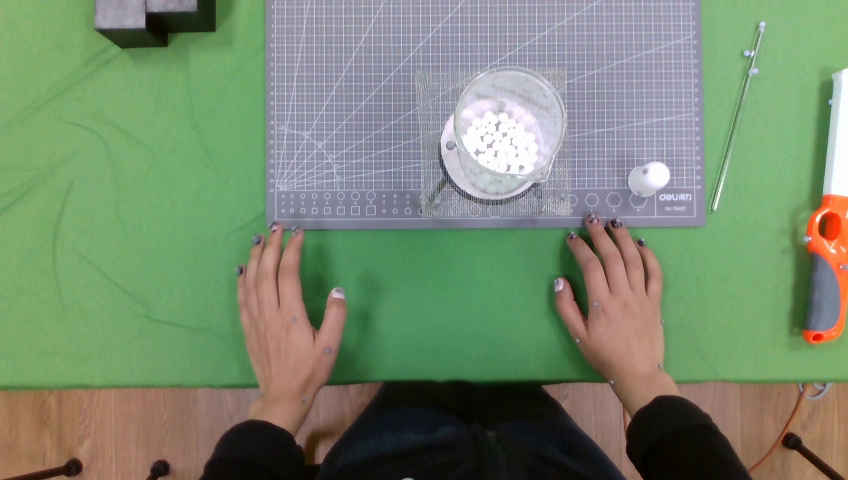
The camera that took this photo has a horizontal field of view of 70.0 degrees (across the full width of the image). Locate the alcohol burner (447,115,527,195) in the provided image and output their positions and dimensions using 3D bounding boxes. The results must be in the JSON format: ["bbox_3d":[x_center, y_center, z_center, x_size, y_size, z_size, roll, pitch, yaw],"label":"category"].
[{"bbox_3d":[0.061,-0.083,0.569,0.078,0.119,0.077,0,85,0],"label":"alcohol burner"}]

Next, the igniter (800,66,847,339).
[{"bbox_3d":[0.414,-0.037,0.612,0.057,0.025,0.276,8,88,-10],"label":"igniter"}]

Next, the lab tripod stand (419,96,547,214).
[{"bbox_3d":[0.055,-0.074,0.559,0.148,0.131,0.148,0,86,2],"label":"lab tripod stand"}]

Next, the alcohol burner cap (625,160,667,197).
[{"bbox_3d":[0.223,-0.063,0.604,0.034,0.048,0.034,0,84,1],"label":"alcohol burner cap"}]

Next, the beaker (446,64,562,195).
[{"bbox_3d":[0.057,-0.072,0.445,0.074,0.100,0.084,-33,86,-1],"label":"beaker"}]

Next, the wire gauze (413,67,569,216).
[{"bbox_3d":[0.054,-0.080,0.494,0.125,0.011,0.121,-1,86,2],"label":"wire gauze"}]

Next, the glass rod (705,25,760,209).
[{"bbox_3d":[0.318,-0.128,0.626,0.008,0.008,0.199,16,88,1],"label":"glass rod"}]
